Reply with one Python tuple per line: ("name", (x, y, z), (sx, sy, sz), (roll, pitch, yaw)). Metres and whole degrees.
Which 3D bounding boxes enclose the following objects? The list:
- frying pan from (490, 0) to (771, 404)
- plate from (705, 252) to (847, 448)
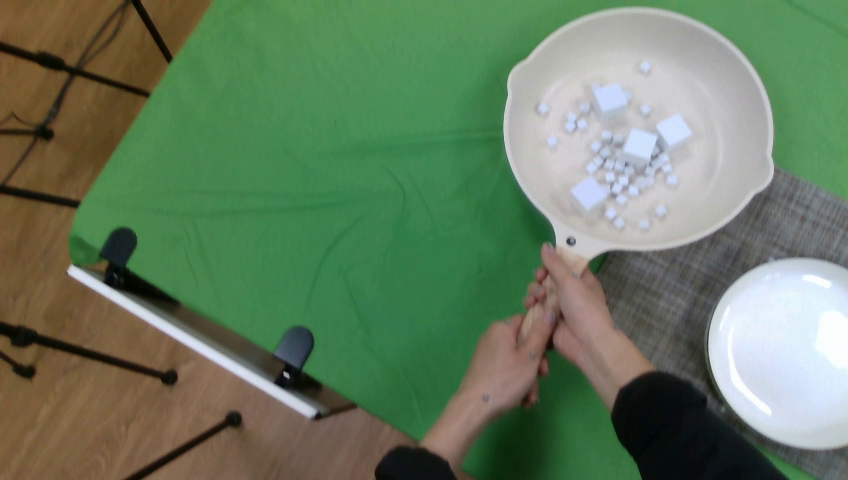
("frying pan", (0.186, -0.043, 0.673), (0.305, 0.103, 0.486), (26, 74, 12))
("plate", (0.411, 0.117, 0.660), (0.207, 0.039, 0.207), (-1, 80, 6))
